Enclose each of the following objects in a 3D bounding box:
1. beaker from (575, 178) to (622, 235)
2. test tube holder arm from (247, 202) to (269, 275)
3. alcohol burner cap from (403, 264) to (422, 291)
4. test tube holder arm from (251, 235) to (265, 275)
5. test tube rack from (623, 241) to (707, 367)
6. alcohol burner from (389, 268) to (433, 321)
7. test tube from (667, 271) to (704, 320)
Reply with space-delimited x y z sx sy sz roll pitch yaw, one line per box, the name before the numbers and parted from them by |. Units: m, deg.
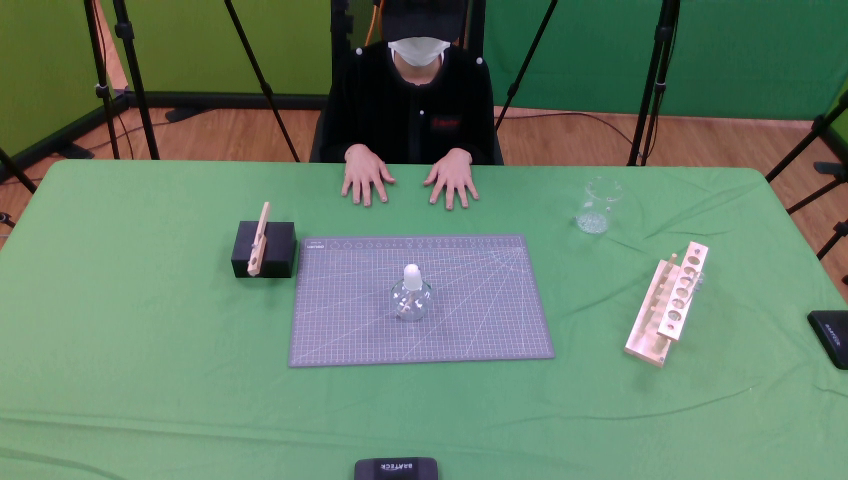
beaker | 0.356 -0.068 1.240 0.084 0.101 0.073 -18 50 -21
test tube holder arm | -0.304 -0.006 1.116 0.013 0.015 0.177 -6 46 2
alcohol burner cap | -0.021 0.060 1.021 0.034 0.048 0.033 -2 46 2
test tube holder arm | -0.297 0.025 1.085 0.010 0.015 0.087 -6 46 2
test tube rack | 0.435 0.104 1.089 0.066 0.085 0.242 24 49 19
alcohol burner | -0.022 0.085 1.047 0.078 0.119 0.077 2 48 -2
test tube | 0.432 0.104 1.019 0.017 0.151 0.017 3 48 -3
